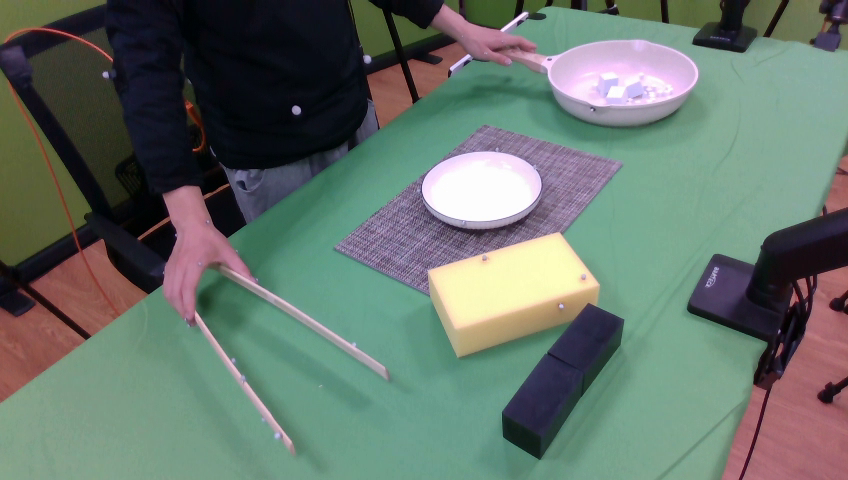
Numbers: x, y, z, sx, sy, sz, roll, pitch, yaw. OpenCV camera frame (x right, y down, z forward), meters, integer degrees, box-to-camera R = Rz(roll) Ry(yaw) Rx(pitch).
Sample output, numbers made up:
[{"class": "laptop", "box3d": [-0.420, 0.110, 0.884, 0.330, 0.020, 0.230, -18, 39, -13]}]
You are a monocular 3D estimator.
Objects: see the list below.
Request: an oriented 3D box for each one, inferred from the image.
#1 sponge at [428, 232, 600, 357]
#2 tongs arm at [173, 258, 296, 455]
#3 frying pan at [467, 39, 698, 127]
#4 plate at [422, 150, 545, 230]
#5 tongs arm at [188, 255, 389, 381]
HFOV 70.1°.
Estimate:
[{"class": "sponge", "box3d": [0.120, 0.071, 0.834, 0.207, 0.061, 0.117, -16, 43, -12]}, {"class": "tongs arm", "box3d": [-0.252, 0.136, 0.797, 0.051, 0.026, 0.381, -33, 48, -26]}, {"class": "frying pan", "box3d": [0.312, -0.359, 1.277, 0.485, 0.103, 0.307, 23, 48, 19]}, {"class": "plate", "box3d": [0.101, -0.082, 1.031, 0.207, 0.039, 0.206, -4, 40, 4]}, {"class": "tongs arm", "box3d": [-0.198, 0.099, 0.835, 0.384, 0.028, 0.028, 25, 54, 30]}]
